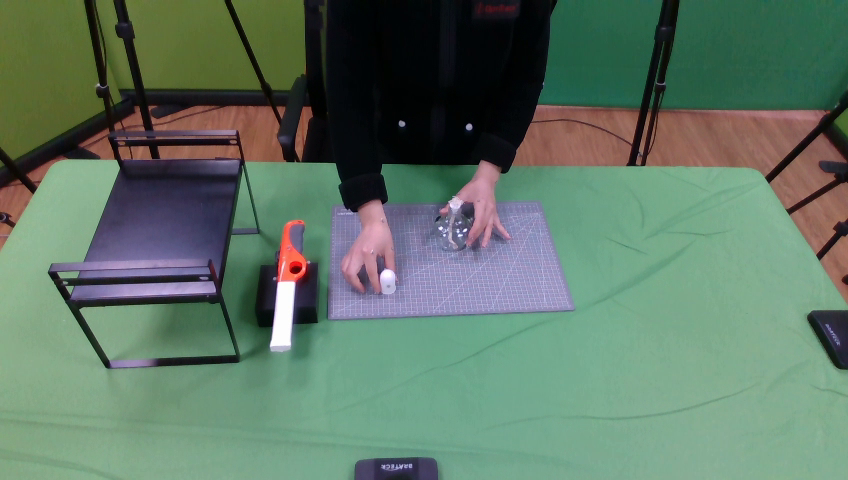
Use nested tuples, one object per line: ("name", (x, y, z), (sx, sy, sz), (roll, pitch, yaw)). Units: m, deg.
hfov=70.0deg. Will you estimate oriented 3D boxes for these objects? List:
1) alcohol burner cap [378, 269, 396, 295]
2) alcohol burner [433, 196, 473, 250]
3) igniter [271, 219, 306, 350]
("alcohol burner cap", (-0.067, 0.073, 1.103), (0.034, 0.048, 0.033), (3, 47, -3))
("alcohol burner", (0.058, -0.038, 1.169), (0.078, 0.119, 0.077), (3, 45, -3))
("igniter", (-0.235, 0.067, 1.047), (0.057, 0.025, 0.274), (0, 49, -6))
